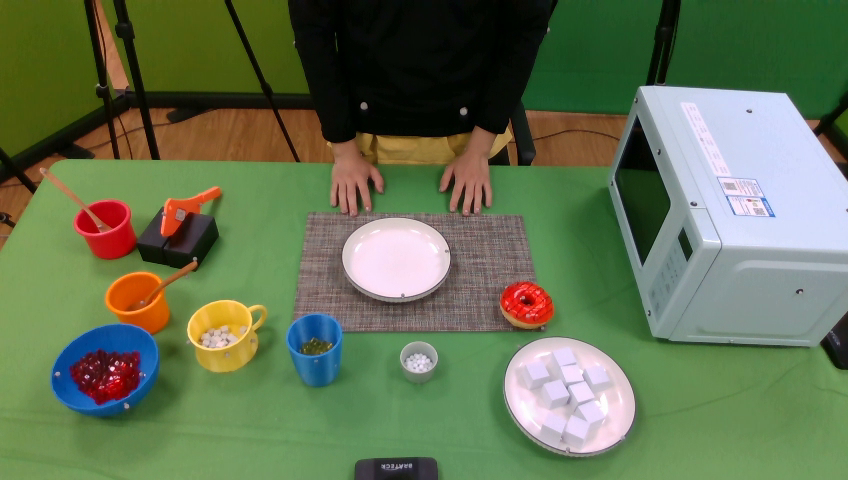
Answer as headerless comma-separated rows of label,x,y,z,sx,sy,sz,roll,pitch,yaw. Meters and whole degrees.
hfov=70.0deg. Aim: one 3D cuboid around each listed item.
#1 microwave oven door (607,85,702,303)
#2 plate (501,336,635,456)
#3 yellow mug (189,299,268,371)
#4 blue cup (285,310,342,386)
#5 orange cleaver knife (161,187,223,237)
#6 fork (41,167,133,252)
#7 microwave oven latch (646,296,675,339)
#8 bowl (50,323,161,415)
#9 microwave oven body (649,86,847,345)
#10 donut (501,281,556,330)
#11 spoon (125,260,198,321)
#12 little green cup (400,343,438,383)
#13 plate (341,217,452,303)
microwave oven door,0.423,-0.094,1.141,0.039,0.245,0.353,2,46,-1
plate,0.225,0.248,0.963,0.208,0.039,0.206,2,46,-2
yellow mug,-0.316,0.148,1.002,0.131,0.064,0.099,-32,56,-31
blue cup,-0.170,0.179,0.958,0.093,0.101,0.092,2,44,-1
orange cleaver knife,-0.448,-0.058,1.181,0.012,0.077,0.211,13,17,6
fork,-0.624,-0.055,1.121,0.208,0.018,0.028,49,52,-15
microwave oven latch,0.412,0.134,1.061,0.030,0.029,0.078,3,45,1
bowl,-0.472,0.209,0.924,0.151,0.077,0.150,3,45,-2
microwave oven body,0.568,-0.053,1.118,0.326,0.261,0.439,2,45,-1
donut,0.185,0.116,1.079,0.099,0.048,0.098,4,45,-3
spoon,-0.434,0.083,1.000,0.022,0.194,0.041,35,34,-34
little green cup,-0.010,0.202,0.991,0.061,0.039,0.061,2,46,-2
plate,-0.052,0.040,1.140,0.209,0.038,0.208,2,46,-2
